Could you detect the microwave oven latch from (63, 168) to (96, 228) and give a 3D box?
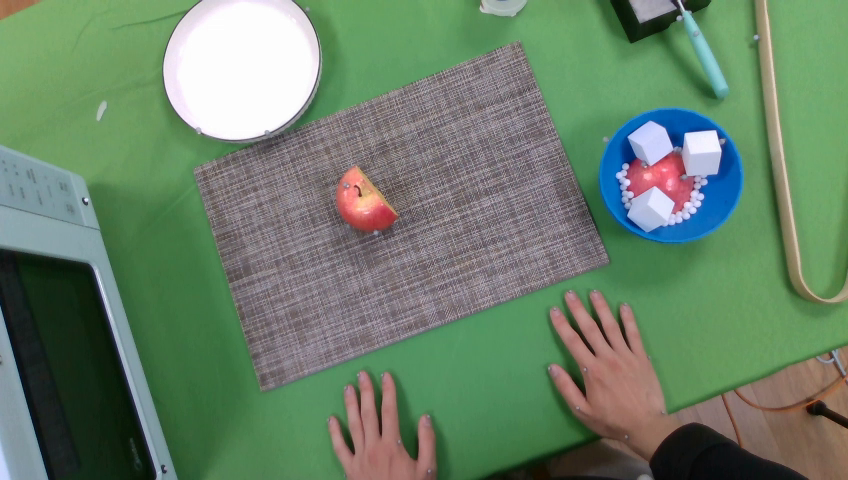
[{"bbox_3d":[-0.443,-0.050,0.762,0.030,0.029,0.079,-23,82,2],"label":"microwave oven latch"}]

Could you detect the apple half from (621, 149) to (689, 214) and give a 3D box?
[{"bbox_3d":[0.266,-0.069,0.687,0.081,0.033,0.081,-1,82,8],"label":"apple half"}]

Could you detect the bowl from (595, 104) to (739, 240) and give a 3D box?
[{"bbox_3d":[0.266,-0.069,0.691,0.151,0.077,0.151,-1,83,6],"label":"bowl"}]

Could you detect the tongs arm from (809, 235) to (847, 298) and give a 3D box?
[{"bbox_3d":[0.493,-0.121,0.696,0.050,0.026,0.384,9,85,7],"label":"tongs arm"}]

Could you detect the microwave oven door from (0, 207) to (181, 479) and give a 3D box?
[{"bbox_3d":[-0.376,0.137,0.630,0.039,0.244,0.354,-23,81,3],"label":"microwave oven door"}]

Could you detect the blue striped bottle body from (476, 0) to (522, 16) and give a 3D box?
[{"bbox_3d":[0.090,-0.325,0.719,0.063,0.121,0.063,-1,82,6],"label":"blue striped bottle body"}]

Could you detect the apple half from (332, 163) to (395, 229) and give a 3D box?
[{"bbox_3d":[-0.078,-0.044,0.722,0.053,0.075,0.080,-41,84,5],"label":"apple half"}]

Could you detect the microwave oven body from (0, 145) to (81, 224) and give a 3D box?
[{"bbox_3d":[-0.526,0.155,0.647,0.326,0.261,0.440,-22,82,2],"label":"microwave oven body"}]

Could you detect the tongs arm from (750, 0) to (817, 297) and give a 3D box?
[{"bbox_3d":[0.413,-0.126,0.708,0.028,0.028,0.386,-4,83,2],"label":"tongs arm"}]

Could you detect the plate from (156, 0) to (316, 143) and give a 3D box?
[{"bbox_3d":[-0.238,-0.222,0.782,0.207,0.039,0.207,-1,83,5],"label":"plate"}]

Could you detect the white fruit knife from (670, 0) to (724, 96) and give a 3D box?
[{"bbox_3d":[0.300,-0.261,0.707,0.016,0.027,0.208,-28,98,19],"label":"white fruit knife"}]
